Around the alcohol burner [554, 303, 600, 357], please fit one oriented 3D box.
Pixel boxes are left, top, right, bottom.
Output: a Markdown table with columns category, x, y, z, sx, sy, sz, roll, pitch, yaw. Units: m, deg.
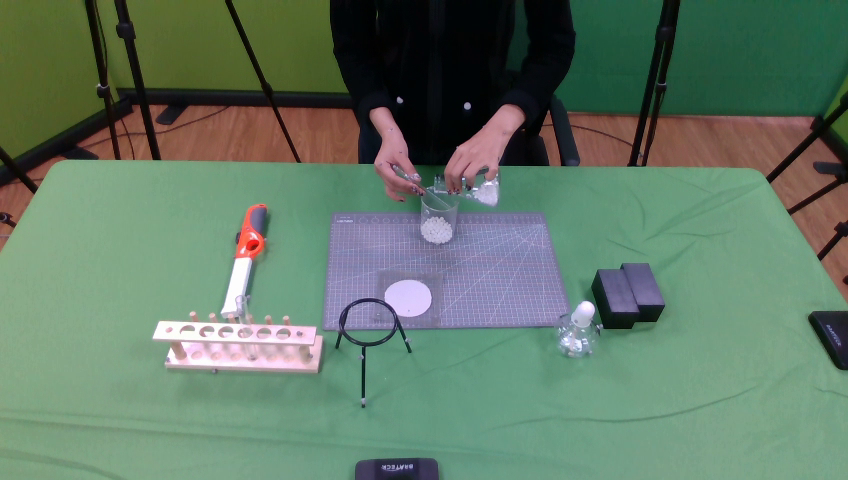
| category | x | y | z | sx | sy | sz | roll | pitch | yaw |
| --- | --- | --- | --- | --- | --- | --- | --- | --- | --- |
| alcohol burner | 0.260 | 0.143 | 1.018 | 0.078 | 0.119 | 0.077 | 3 | 45 | -3 |

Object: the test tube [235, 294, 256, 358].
| category | x | y | z | sx | sy | sz | roll | pitch | yaw |
| --- | --- | --- | --- | --- | --- | --- | --- | --- | --- |
| test tube | -0.274 | 0.136 | 0.933 | 0.017 | 0.151 | 0.017 | 4 | 46 | -4 |

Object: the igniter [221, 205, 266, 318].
| category | x | y | z | sx | sy | sz | roll | pitch | yaw |
| --- | --- | --- | --- | --- | --- | --- | --- | --- | --- |
| igniter | -0.338 | 0.030 | 1.140 | 0.057 | 0.025 | 0.274 | -5 | 46 | 3 |

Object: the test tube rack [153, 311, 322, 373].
| category | x | y | z | sx | sy | sz | roll | pitch | yaw |
| --- | --- | --- | --- | --- | --- | --- | --- | --- | --- |
| test tube rack | -0.293 | 0.160 | 0.978 | 0.242 | 0.085 | 0.066 | 3 | 46 | -2 |

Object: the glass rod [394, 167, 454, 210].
| category | x | y | z | sx | sy | sz | roll | pitch | yaw |
| --- | --- | --- | --- | --- | --- | --- | --- | --- | --- |
| glass rod | 0.004 | -0.092 | 1.119 | 0.008 | 0.201 | 0.008 | -13 | 64 | 30 |

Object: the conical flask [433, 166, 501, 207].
| category | x | y | z | sx | sy | sz | roll | pitch | yaw |
| --- | --- | --- | --- | --- | --- | --- | --- | --- | --- |
| conical flask | 0.078 | -0.101 | 1.117 | 0.122 | 0.076 | 0.075 | 4 | 46 | 3 |

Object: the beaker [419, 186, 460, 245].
| category | x | y | z | sx | sy | sz | roll | pitch | yaw |
| --- | --- | --- | --- | --- | --- | --- | --- | --- | --- |
| beaker | 0.025 | -0.047 | 1.190 | 0.074 | 0.101 | 0.083 | -29 | 54 | -29 |

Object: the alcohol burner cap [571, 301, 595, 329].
| category | x | y | z | sx | sy | sz | roll | pitch | yaw |
| --- | --- | --- | --- | --- | --- | --- | --- | --- | --- |
| alcohol burner cap | 0.262 | 0.120 | 0.991 | 0.034 | 0.048 | 0.033 | 2 | 52 | -2 |

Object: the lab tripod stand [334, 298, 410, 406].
| category | x | y | z | sx | sy | sz | roll | pitch | yaw |
| --- | --- | --- | --- | --- | --- | --- | --- | --- | --- |
| lab tripod stand | -0.085 | 0.164 | 0.957 | 0.148 | 0.132 | 0.147 | 3 | 44 | -2 |

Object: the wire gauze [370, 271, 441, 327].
| category | x | y | z | sx | sy | sz | roll | pitch | yaw |
| --- | --- | --- | --- | --- | --- | --- | --- | --- | --- |
| wire gauze | -0.032 | 0.103 | 1.104 | 0.125 | 0.011 | 0.121 | 4 | 46 | 3 |
